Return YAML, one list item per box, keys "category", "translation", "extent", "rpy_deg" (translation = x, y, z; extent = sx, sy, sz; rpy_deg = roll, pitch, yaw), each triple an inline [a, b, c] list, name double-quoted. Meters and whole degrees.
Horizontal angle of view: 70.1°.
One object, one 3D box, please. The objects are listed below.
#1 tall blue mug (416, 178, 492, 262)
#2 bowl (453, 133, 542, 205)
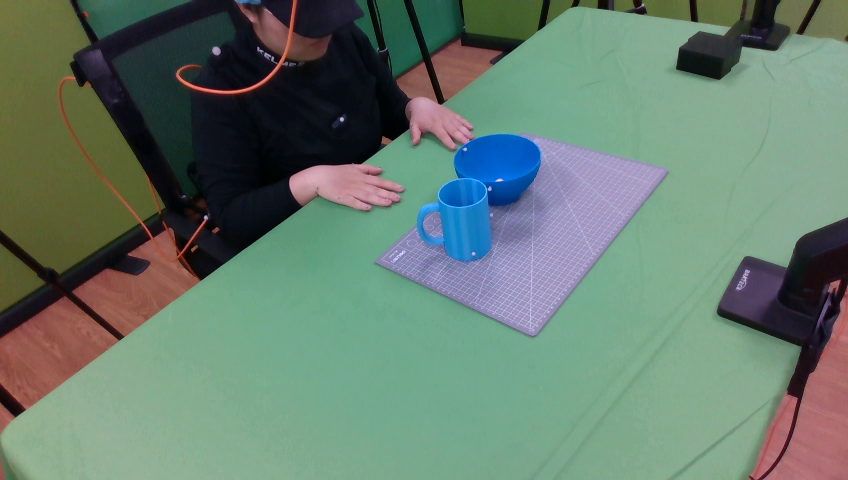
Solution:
- category: "tall blue mug"
  translation: [0.051, -0.025, 0.931]
  extent: [0.107, 0.108, 0.077]
  rpy_deg: [-27, 44, -20]
- category: "bowl"
  translation: [0.129, -0.112, 1.045]
  extent: [0.151, 0.077, 0.150]
  rpy_deg: [-5, 40, 5]
